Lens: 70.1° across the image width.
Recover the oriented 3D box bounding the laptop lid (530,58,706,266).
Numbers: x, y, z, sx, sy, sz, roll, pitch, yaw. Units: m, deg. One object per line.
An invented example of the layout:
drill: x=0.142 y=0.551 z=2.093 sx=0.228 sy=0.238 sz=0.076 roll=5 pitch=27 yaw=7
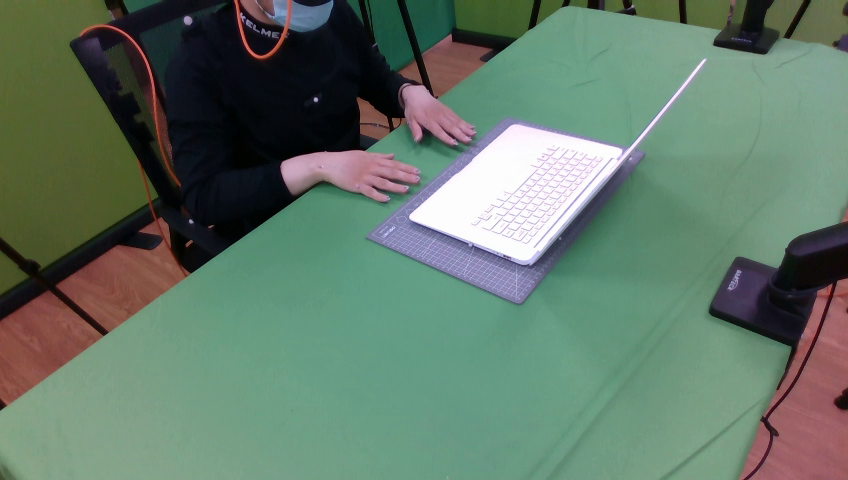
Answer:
laptop lid: x=0.293 y=-0.118 z=0.905 sx=0.013 sy=0.241 sz=0.357 roll=40 pitch=53 yaw=9

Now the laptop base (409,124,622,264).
laptop base: x=0.168 y=-0.095 z=1.057 sx=0.233 sy=0.023 sz=0.355 roll=20 pitch=47 yaw=32
